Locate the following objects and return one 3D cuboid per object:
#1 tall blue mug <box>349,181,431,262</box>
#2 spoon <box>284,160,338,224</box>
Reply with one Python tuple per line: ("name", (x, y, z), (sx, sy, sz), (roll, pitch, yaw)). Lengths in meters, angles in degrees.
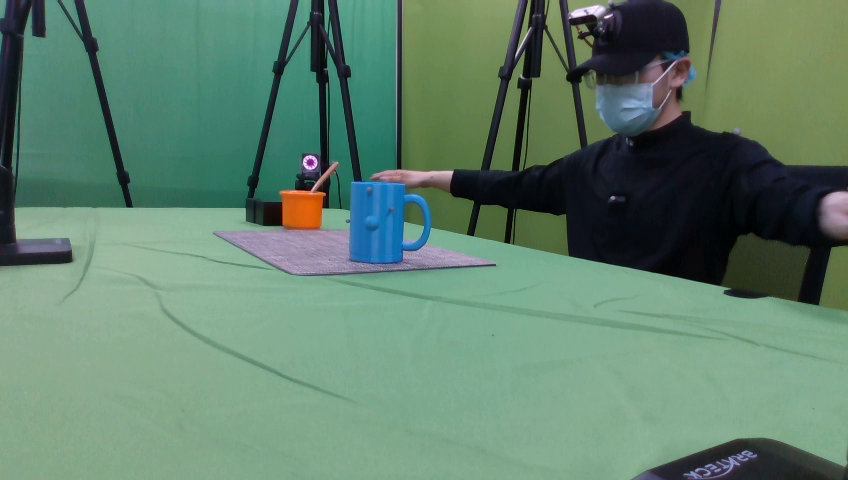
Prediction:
("tall blue mug", (-0.052, -0.028, 0.849), (0.108, 0.108, 0.077), (-1, 7, -22))
("spoon", (-0.228, -0.101, 1.251), (0.041, 0.194, 0.022), (6, -37, 35))
